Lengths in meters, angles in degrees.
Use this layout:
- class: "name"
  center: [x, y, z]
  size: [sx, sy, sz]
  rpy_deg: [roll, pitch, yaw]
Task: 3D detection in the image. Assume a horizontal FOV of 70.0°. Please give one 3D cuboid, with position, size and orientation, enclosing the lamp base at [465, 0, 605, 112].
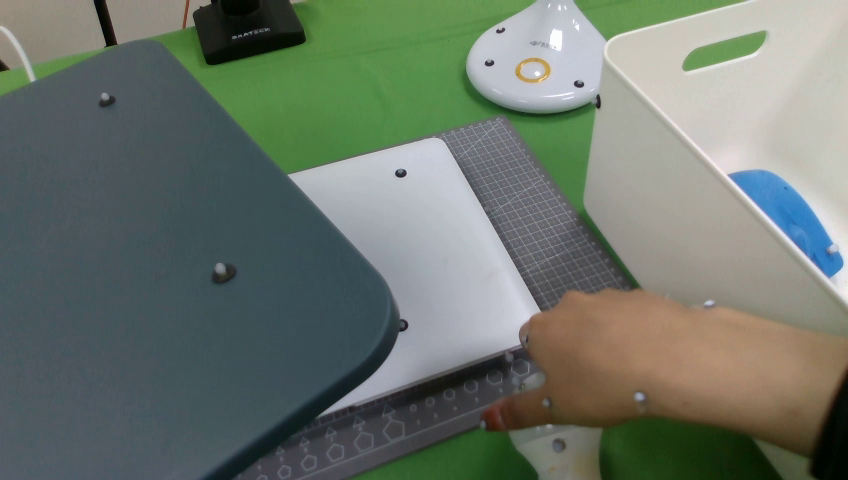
- class: "lamp base"
  center: [0.123, -0.252, 0.613]
  size: [0.160, 0.182, 0.178]
  rpy_deg: [9, 48, 11]

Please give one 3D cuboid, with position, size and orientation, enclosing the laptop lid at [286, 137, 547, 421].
- class: "laptop lid"
  center: [-0.110, 0.035, 0.473]
  size: [0.357, 0.013, 0.239]
  rpy_deg: [-16, 53, -10]

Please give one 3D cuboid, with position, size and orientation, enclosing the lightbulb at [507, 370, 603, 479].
- class: "lightbulb"
  center: [0.088, 0.134, 0.375]
  size: [0.059, 0.060, 0.106]
  rpy_deg: [-12, 65, -6]

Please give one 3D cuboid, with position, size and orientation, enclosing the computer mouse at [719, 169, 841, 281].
- class: "computer mouse"
  center: [0.277, -0.013, 0.487]
  size: [0.063, 0.041, 0.116]
  rpy_deg: [-16, 56, -13]

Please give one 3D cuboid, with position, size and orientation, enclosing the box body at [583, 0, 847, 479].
- class: "box body"
  center: [0.298, 0.002, 0.400]
  size: [0.254, 0.162, 0.360]
  rpy_deg: [-17, 51, -11]

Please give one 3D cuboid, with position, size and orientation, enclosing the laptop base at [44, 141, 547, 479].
- class: "laptop base"
  center: [-0.110, 0.041, 0.483]
  size: [0.355, 0.023, 0.233]
  rpy_deg: [-17, 55, -11]

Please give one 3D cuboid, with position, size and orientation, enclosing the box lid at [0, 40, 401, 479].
- class: "box lid"
  center: [-0.207, 0.007, 0.312]
  size: [0.263, 0.015, 0.367]
  rpy_deg: [-33, 49, -18]
